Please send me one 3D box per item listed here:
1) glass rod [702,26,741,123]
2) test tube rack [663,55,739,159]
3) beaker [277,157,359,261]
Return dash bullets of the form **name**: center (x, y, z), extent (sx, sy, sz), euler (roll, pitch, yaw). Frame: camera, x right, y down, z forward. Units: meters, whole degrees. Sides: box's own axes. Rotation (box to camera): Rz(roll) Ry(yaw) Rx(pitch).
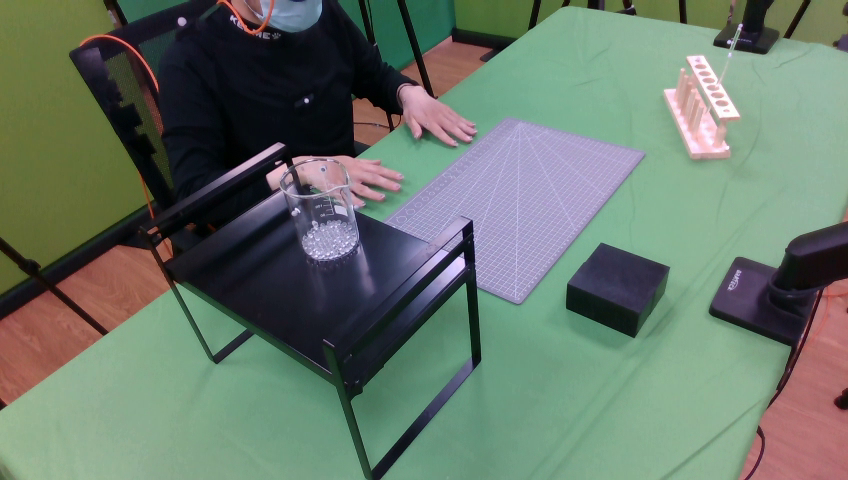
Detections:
- **glass rod**: center (0.527, -0.288, 1.078), extent (0.008, 0.200, 0.008), euler (-1, 50, 2)
- **test tube rack**: center (0.518, -0.256, 1.144), extent (0.066, 0.085, 0.241), euler (-1, 41, 8)
- **beaker**: center (-0.114, -0.033, 0.688), extent (0.084, 0.101, 0.074), euler (5, 43, 13)
